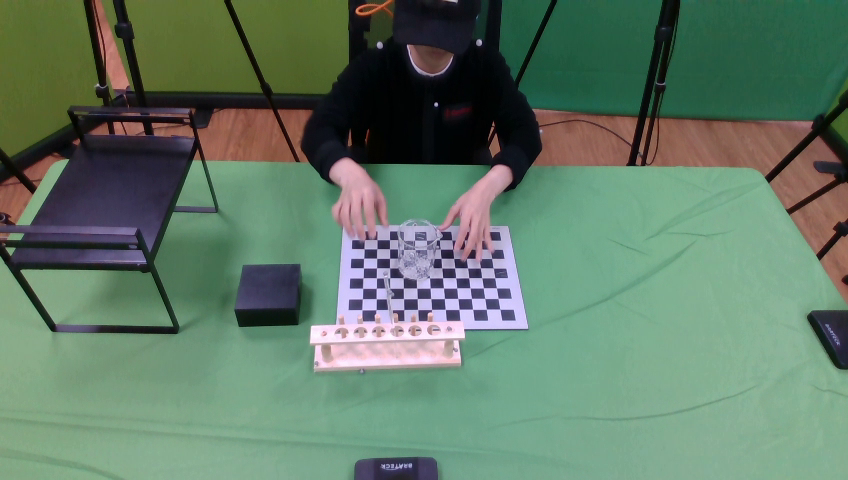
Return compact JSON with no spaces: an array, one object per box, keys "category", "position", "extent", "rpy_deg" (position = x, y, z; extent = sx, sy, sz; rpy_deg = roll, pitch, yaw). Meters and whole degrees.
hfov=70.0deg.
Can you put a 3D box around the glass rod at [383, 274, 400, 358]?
[{"category":"glass rod","position":[-0.049,0.123,0.936],"extent":[0.008,0.201,0.008],"rpy_deg":[-3,43,3]}]

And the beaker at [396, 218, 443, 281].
[{"category":"beaker","position":[-0.010,0.020,1.115],"extent":[0.084,0.101,0.073],"rpy_deg":[2,46,-3]}]

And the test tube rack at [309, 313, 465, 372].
[{"category":"test tube rack","position":[-0.059,0.161,0.990],"extent":[0.242,0.085,0.066],"rpy_deg":[-1,46,-5]}]
